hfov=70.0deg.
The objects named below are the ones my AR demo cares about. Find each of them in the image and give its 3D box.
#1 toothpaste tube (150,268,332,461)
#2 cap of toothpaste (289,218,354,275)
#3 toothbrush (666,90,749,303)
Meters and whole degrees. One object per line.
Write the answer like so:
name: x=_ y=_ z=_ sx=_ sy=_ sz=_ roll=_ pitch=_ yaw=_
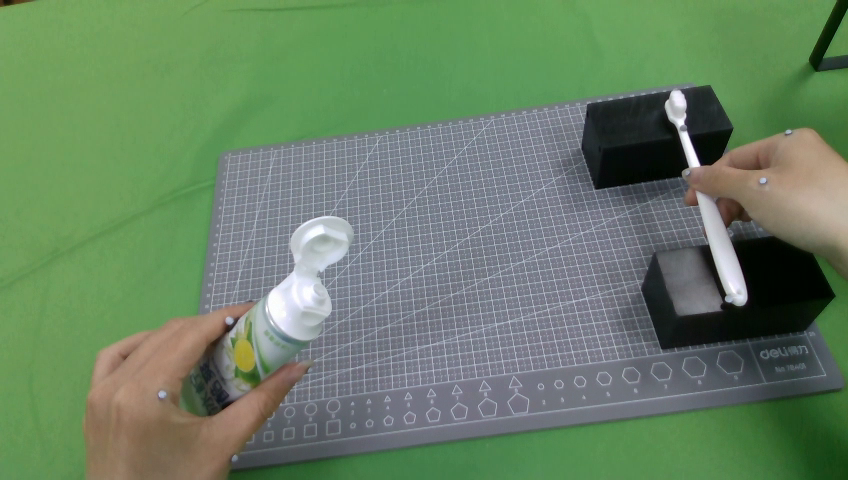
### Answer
toothpaste tube: x=-0.110 y=0.070 z=0.354 sx=0.165 sy=0.035 sz=0.054 roll=-41 pitch=73 yaw=26
cap of toothpaste: x=-0.054 y=0.004 z=0.326 sx=0.037 sy=0.038 sz=0.011 roll=-23 pitch=50 yaw=-7
toothbrush: x=0.197 y=-0.038 z=0.425 sx=0.014 sy=0.017 sz=0.180 roll=-2 pitch=57 yaw=2
